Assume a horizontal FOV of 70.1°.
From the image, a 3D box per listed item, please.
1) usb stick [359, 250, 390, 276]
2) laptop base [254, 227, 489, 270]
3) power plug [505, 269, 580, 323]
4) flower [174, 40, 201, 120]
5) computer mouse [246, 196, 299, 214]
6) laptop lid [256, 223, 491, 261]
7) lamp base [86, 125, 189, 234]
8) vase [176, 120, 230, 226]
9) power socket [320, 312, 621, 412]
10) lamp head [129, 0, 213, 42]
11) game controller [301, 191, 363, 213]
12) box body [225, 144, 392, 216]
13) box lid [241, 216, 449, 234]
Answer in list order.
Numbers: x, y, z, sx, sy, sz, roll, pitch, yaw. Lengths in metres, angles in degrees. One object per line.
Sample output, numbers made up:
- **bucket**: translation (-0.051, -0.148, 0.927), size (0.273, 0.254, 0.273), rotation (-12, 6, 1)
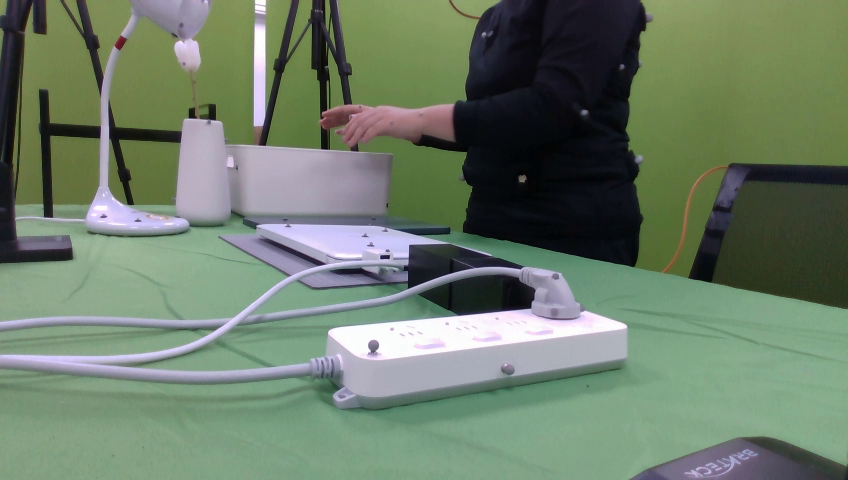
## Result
- **usb stick**: translation (-0.061, 0.026, 0.709), size (0.021, 0.027, 0.059), rotation (-2, 3, -29)
- **laptop base**: translation (-0.095, 0.011, 0.912), size (0.237, 0.023, 0.352), rotation (2, 6, -32)
- **power plug**: translation (0.092, 0.051, 0.470), size (0.035, 0.052, 0.072), rotation (0, 6, -16)
- **flower**: translation (-0.430, -0.211, 1.165), size (0.044, 0.361, 0.038), rotation (-10, -5, -23)
- **computer mouse**: translation (-0.354, -0.083, 1.418), size (0.117, 0.041, 0.063), rotation (0, 10, 7)
- **laptop lid**: translation (-0.092, 0.000, 0.912), size (0.243, 0.013, 0.355), rotation (1, 7, -30)
- **lamp base**: translation (-0.497, -0.105, 1.027), size (0.179, 0.180, 0.160), rotation (1, 7, 3)
- **vase**: translation (-0.425, -0.128, 1.159), size (0.098, 0.200, 0.098), rotation (2, 9, 0)
- **power socket**: translation (0.038, 0.075, 0.409), size (0.228, 0.032, 0.072), rotation (-2, 8, -29)
- **lamp head**: translation (-0.423, -0.394, 0.980), size (0.123, 0.112, 0.112), rotation (20, 7, -3)
- **game controller**: translation (-0.240, -0.098, 1.550), size (0.155, 0.051, 0.097), rotation (3, 9, 5)
- **box body**: translation (-0.289, -0.143, 1.475), size (0.366, 0.160, 0.253), rotation (-1, 9, -29)
- **box lid**: translation (-0.162, -0.030, 1.233), size (0.373, 0.015, 0.262), rotation (-1, 8, -32)
